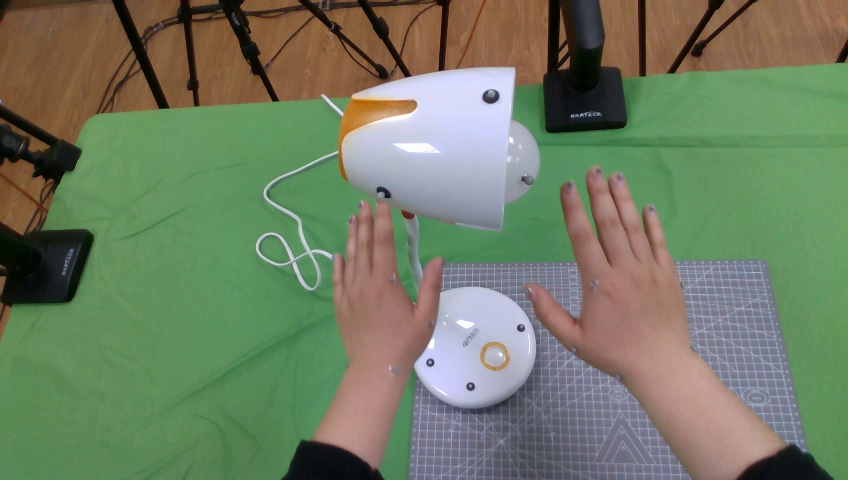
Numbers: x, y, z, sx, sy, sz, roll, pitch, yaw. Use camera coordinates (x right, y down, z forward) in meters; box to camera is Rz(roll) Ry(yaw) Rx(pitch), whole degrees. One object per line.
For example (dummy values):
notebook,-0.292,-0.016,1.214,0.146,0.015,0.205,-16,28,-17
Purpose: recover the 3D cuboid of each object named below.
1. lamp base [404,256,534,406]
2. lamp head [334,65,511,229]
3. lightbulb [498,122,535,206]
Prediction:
lamp base,0.037,0.090,0.710,0.178,0.182,0.160,22,67,23
lamp head,0.001,-0.065,0.426,0.122,0.113,0.111,2,62,12
lightbulb,0.022,-0.053,0.418,0.107,0.060,0.059,0,62,11
